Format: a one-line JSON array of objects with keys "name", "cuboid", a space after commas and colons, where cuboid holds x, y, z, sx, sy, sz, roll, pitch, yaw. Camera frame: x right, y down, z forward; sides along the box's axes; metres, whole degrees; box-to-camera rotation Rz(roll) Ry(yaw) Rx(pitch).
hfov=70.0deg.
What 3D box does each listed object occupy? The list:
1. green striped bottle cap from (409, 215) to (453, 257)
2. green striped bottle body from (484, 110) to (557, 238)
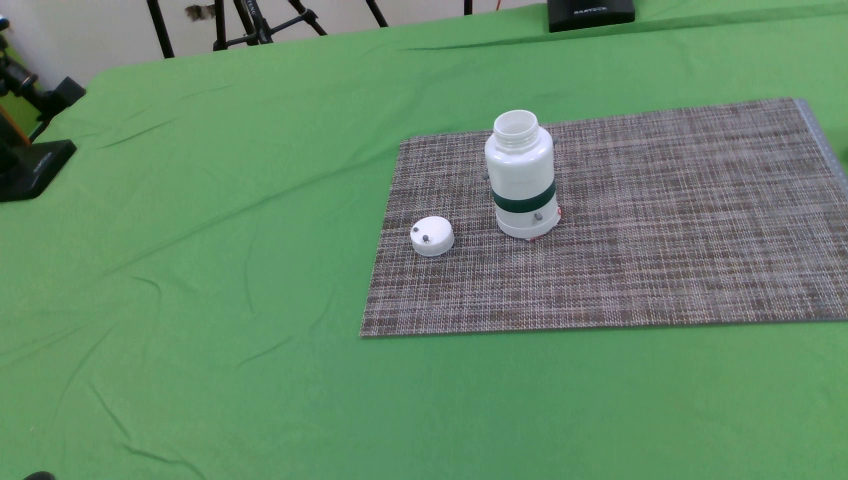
[{"name": "green striped bottle cap", "cuboid": [0.007, -0.005, 0.621, 0.044, 0.020, 0.044, -6, 45, 6]}, {"name": "green striped bottle body", "cuboid": [0.093, -0.064, 0.579, 0.063, 0.120, 0.062, -8, 45, 9]}]
